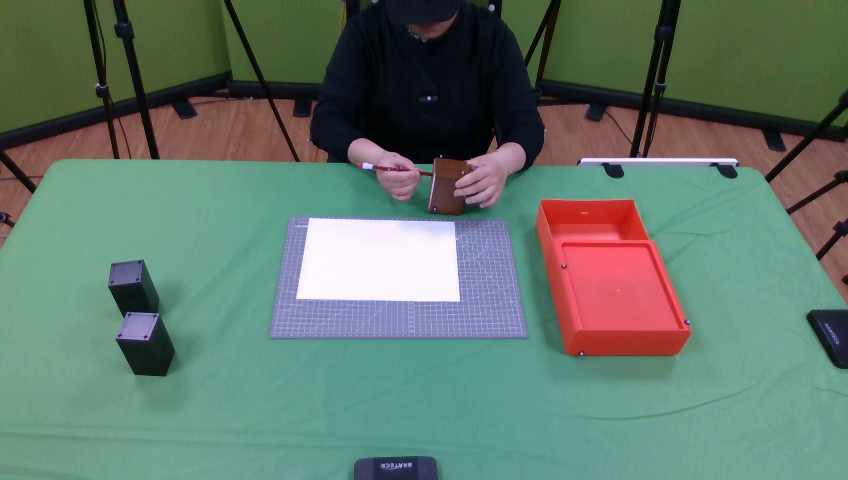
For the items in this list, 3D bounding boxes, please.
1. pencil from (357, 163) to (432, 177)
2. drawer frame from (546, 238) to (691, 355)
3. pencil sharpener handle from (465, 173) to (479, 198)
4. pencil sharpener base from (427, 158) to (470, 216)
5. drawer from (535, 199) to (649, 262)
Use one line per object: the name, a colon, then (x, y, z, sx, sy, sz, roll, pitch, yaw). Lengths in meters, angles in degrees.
pencil: (-0.039, -0.138, 1.222, 0.194, 0.012, 0.012, 7, 45, -2)
drawer frame: (0.338, 0.097, 1.086, 0.202, 0.083, 0.212, 0, 46, -4)
pencil sharpener handle: (0.102, -0.112, 1.242, 0.031, 0.068, 0.036, 6, 49, -4)
pencil sharpener base: (0.050, -0.107, 1.246, 0.077, 0.107, 0.061, 6, 44, -4)
drawer: (0.332, 0.015, 1.169, 0.195, 0.073, 0.210, 0, 46, -5)
